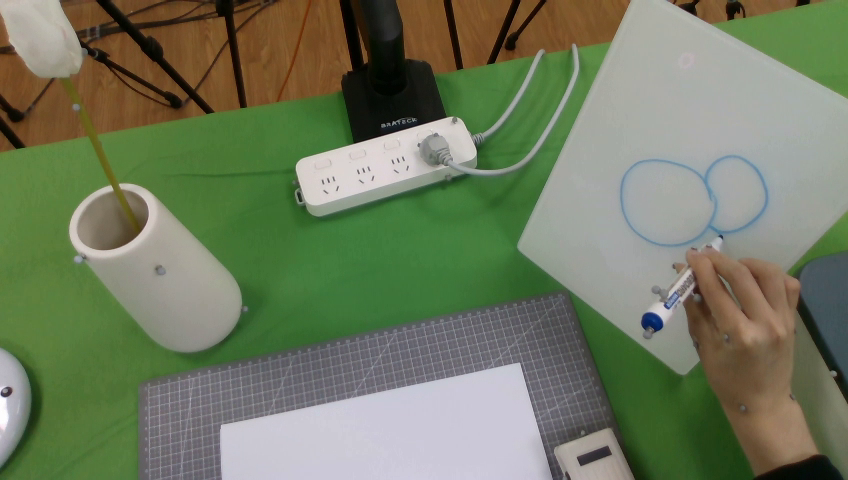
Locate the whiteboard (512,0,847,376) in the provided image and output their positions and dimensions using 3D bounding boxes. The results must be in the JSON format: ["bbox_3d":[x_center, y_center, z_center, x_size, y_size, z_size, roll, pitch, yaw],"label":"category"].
[{"bbox_3d":[0.252,-0.058,0.573,0.215,0.307,0.144,40,50,21],"label":"whiteboard"}]

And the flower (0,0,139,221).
[{"bbox_3d":[-0.242,-0.026,0.497,0.038,0.365,0.043,-23,45,-18],"label":"flower"}]

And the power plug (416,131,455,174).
[{"bbox_3d":[0.012,-0.091,0.689,0.035,0.053,0.072,-8,63,-3],"label":"power plug"}]

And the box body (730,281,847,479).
[{"bbox_3d":[0.453,0.185,0.485,0.254,0.161,0.360,-13,62,-6],"label":"box body"}]

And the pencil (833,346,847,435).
[{"bbox_3d":[0.399,0.193,0.562,0.012,0.012,0.192,6,65,5],"label":"pencil"}]

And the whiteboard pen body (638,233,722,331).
[{"bbox_3d":[0.202,0.027,0.466,0.017,0.017,0.141,39,51,21],"label":"whiteboard pen body"}]

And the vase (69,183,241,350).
[{"bbox_3d":[-0.242,0.030,0.560,0.098,0.201,0.097,-1,61,2],"label":"vase"}]

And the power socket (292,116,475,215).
[{"bbox_3d":[-0.046,-0.089,0.715,0.227,0.033,0.071,-17,63,-8],"label":"power socket"}]

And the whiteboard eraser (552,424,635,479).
[{"bbox_3d":[0.161,0.225,0.533,0.056,0.042,0.111,-16,62,-9],"label":"whiteboard eraser"}]

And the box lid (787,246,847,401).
[{"bbox_3d":[0.451,0.147,0.420,0.263,0.015,0.368,-13,63,-6],"label":"box lid"}]

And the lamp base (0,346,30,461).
[{"bbox_3d":[-0.479,0.131,0.520,0.178,0.182,0.159,17,63,14],"label":"lamp base"}]
